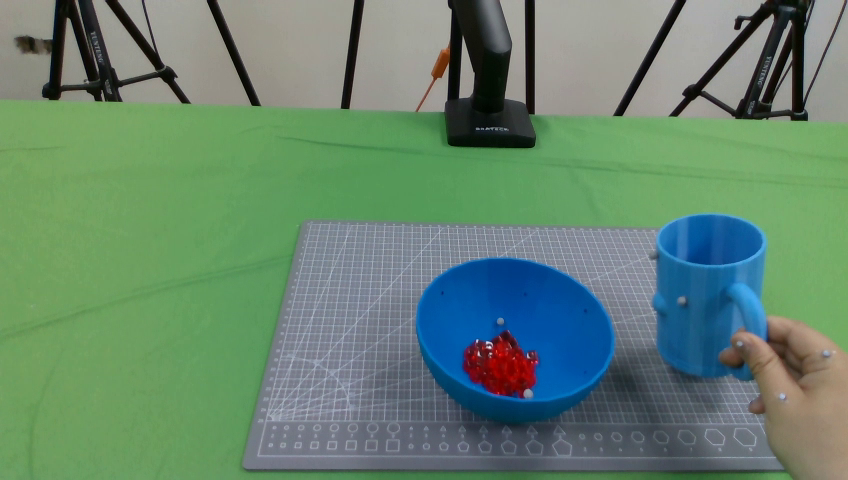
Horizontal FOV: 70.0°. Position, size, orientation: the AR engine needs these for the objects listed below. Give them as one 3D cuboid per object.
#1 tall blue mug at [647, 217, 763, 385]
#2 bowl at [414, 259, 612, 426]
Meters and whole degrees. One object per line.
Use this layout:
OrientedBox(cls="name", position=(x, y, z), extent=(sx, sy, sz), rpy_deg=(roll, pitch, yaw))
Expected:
OrientedBox(cls="tall blue mug", position=(0.230, 0.052, 0.472), extent=(0.078, 0.109, 0.106), rpy_deg=(-27, 33, -23))
OrientedBox(cls="bowl", position=(0.064, 0.093, 0.480), extent=(0.151, 0.077, 0.150), rpy_deg=(2, 38, -2))
